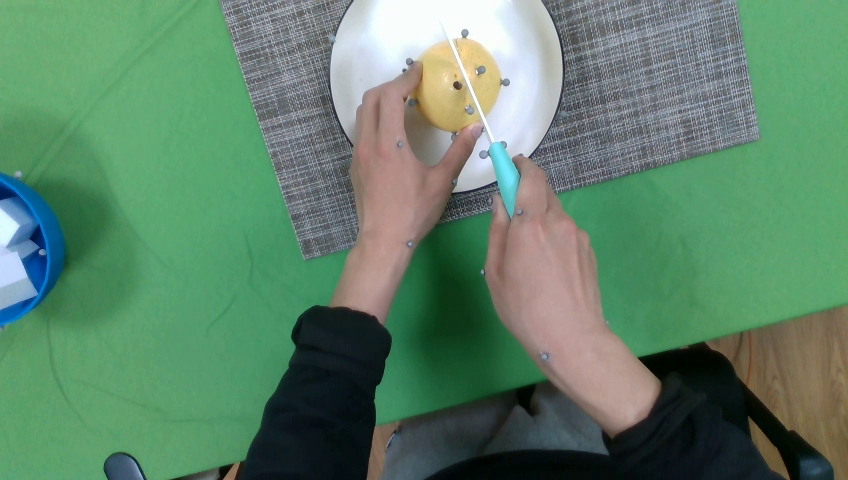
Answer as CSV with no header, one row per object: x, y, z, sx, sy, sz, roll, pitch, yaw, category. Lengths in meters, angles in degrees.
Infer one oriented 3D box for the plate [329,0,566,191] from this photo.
0.020,-0.149,0.546,0.207,0.039,0.208,0,102,3,plate

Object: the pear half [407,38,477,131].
0.014,-0.126,0.504,0.056,0.109,0.076,-23,97,5,pear half

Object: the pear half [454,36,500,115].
0.047,-0.141,0.511,0.031,0.087,0.070,-23,100,7,pear half

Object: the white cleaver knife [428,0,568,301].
0.047,-0.085,0.447,0.021,0.065,0.287,-22,100,9,white cleaver knife

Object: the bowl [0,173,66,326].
-0.407,0.002,0.581,0.151,0.076,0.152,0,101,2,bowl
